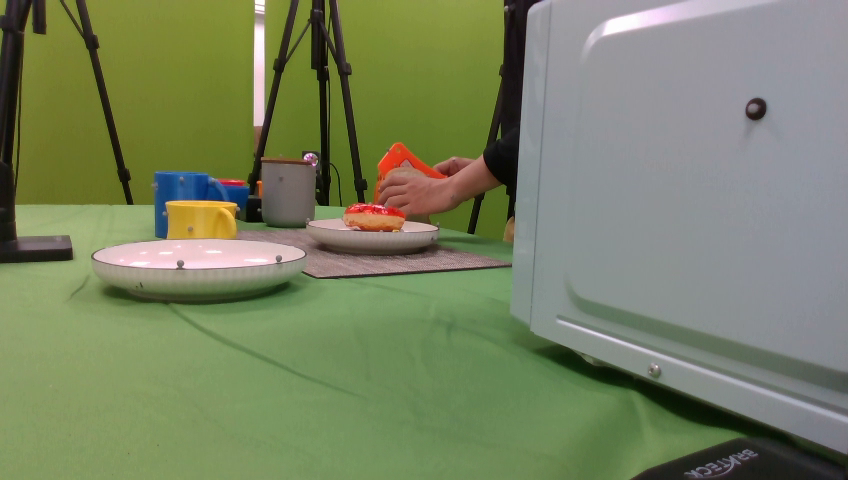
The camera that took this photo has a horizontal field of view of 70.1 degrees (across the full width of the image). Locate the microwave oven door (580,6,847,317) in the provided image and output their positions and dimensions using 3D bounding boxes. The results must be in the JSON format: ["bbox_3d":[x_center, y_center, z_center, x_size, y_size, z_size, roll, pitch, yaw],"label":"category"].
[{"bbox_3d":[0.295,-0.067,0.570,0.358,0.243,0.039,-3,8,-31],"label":"microwave oven door"}]

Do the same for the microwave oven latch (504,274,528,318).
[{"bbox_3d":[0.100,0.041,0.471,0.079,0.029,0.030,-1,8,-28],"label":"microwave oven latch"}]

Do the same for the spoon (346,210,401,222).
[{"bbox_3d":[-0.121,-0.060,1.400,0.042,0.021,0.192,-28,25,-37],"label":"spoon"}]

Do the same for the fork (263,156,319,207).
[{"bbox_3d":[-0.331,-0.144,1.505,0.207,0.018,0.028,-42,-21,22],"label":"fork"}]

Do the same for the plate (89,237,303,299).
[{"bbox_3d":[-0.233,0.029,0.637,0.208,0.039,0.207,2,7,0],"label":"plate"}]

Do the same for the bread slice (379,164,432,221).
[{"bbox_3d":[-0.037,-0.074,1.119,0.107,0.134,0.018,-3,7,-27],"label":"bread slice"}]

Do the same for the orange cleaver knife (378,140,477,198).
[{"bbox_3d":[0.009,-0.118,1.151,0.212,0.077,0.012,25,-9,-26],"label":"orange cleaver knife"}]

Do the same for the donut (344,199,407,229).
[{"bbox_3d":[-0.076,-0.039,0.949,0.099,0.048,0.099,2,4,0],"label":"donut"}]

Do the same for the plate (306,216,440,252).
[{"bbox_3d":[-0.079,-0.011,0.950,0.209,0.038,0.209,2,8,0],"label":"plate"}]

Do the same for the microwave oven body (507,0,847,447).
[{"bbox_3d":[0.331,-0.042,0.425,0.444,0.260,0.324,-2,8,-31],"label":"microwave oven body"}]

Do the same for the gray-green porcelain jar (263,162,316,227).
[{"bbox_3d":[-0.271,-0.092,1.217,0.106,0.126,0.106,2,7,0],"label":"gray-green porcelain jar"}]

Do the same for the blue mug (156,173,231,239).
[{"bbox_3d":[-0.381,-0.057,1.004,0.117,0.106,0.082,0,8,-12],"label":"blue mug"}]

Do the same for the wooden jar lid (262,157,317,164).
[{"bbox_3d":[-0.269,-0.154,1.208,0.108,0.020,0.108,3,4,0],"label":"wooden jar lid"}]

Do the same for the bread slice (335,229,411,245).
[{"bbox_3d":[-0.074,-0.005,0.938,0.105,0.019,0.131,-2,4,-19],"label":"bread slice"}]

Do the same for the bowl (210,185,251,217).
[{"bbox_3d":[-0.408,-0.064,1.155,0.151,0.077,0.151,2,8,0],"label":"bowl"}]

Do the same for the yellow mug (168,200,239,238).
[{"bbox_3d":[-0.319,-0.023,0.904,0.130,0.064,0.100,9,11,36],"label":"yellow mug"}]
